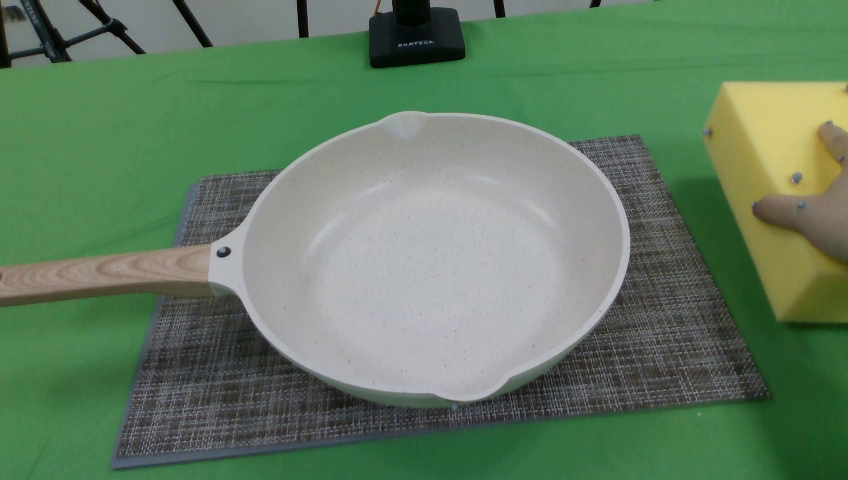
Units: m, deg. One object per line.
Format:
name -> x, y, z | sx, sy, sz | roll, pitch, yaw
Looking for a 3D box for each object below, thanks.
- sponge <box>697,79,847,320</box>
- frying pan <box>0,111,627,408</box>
sponge -> 0.306, -0.039, 0.466 | 0.118, 0.061, 0.204 | -1, 50, 0
frying pan -> -0.098, 0.014, 0.461 | 0.489, 0.103, 0.303 | -3, 44, -9
